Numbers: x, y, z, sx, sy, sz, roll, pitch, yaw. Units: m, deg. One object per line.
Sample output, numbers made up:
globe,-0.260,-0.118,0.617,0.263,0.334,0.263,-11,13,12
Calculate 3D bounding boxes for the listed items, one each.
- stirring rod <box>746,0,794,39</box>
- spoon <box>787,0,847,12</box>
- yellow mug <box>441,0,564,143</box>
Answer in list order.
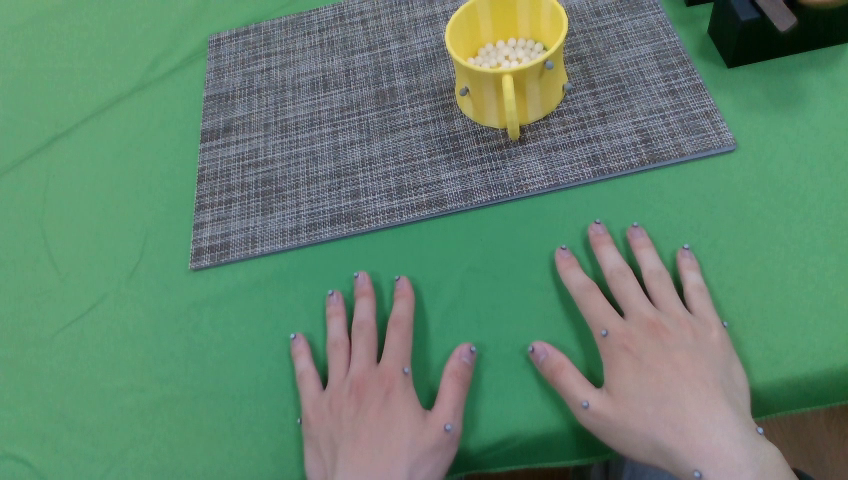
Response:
stirring rod,0.254,-0.226,0.501,0.014,0.006,0.174,-35,52,30
spoon,0.293,-0.244,0.498,0.041,0.022,0.192,-9,56,8
yellow mug,0.069,-0.140,0.509,0.100,0.064,0.129,-6,59,9
